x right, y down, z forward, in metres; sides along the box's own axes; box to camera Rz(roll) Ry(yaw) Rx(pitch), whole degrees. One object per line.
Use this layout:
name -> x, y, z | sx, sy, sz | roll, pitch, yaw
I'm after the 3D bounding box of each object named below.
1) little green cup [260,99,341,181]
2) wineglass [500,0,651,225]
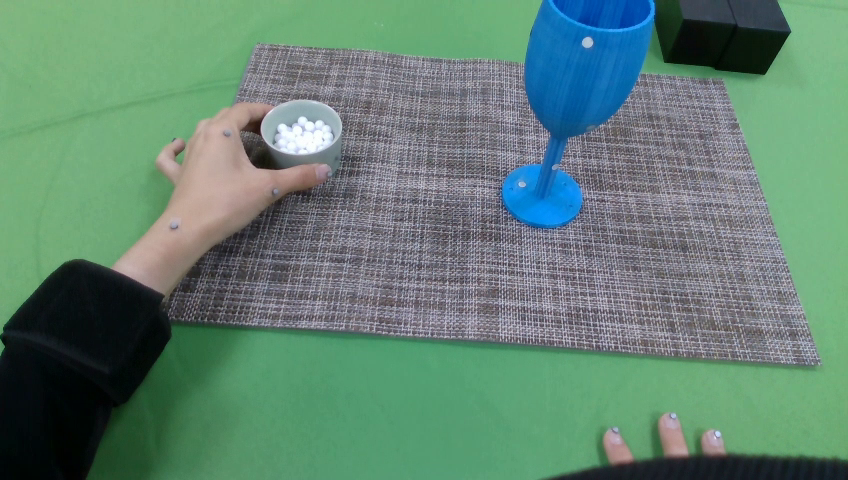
little green cup -> -0.096, -0.077, 0.477 | 0.061, 0.039, 0.061 | 2, 50, -3
wineglass -> 0.095, -0.088, 0.415 | 0.074, 0.173, 0.073 | 2, 54, -2
